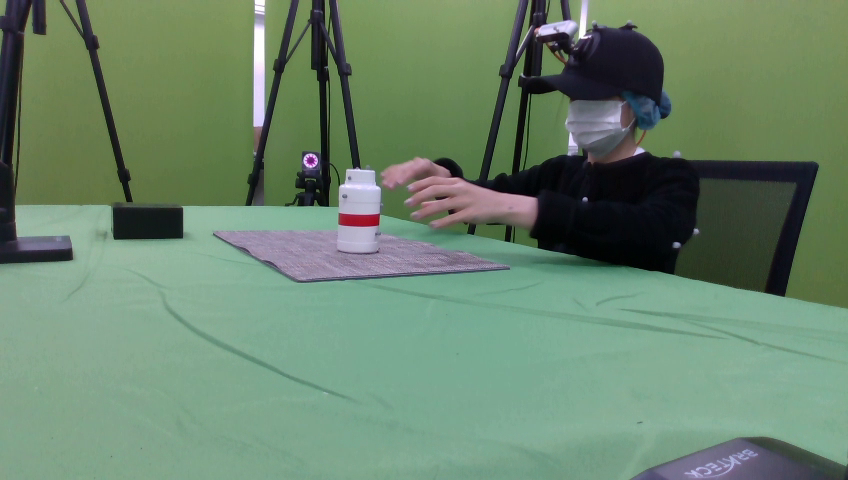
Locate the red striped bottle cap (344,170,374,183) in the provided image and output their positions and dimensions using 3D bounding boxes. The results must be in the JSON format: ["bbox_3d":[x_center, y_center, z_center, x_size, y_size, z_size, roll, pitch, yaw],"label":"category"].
[{"bbox_3d":[-0.094,-0.093,0.886,0.044,0.017,0.044,5,5,0],"label":"red striped bottle cap"}]

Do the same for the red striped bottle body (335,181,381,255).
[{"bbox_3d":[-0.097,-0.042,0.894,0.063,0.119,0.063,4,8,0],"label":"red striped bottle body"}]
